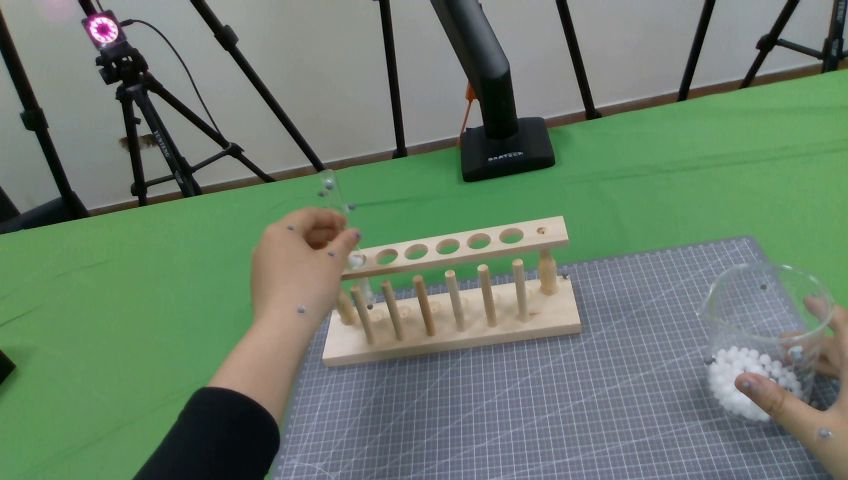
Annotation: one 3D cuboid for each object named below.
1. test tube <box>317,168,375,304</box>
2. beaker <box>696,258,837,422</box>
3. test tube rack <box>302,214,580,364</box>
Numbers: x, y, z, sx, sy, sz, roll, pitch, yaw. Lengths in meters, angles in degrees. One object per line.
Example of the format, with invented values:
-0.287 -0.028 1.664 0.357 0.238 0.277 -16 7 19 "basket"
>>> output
-0.067 0.001 0.542 0.017 0.152 0.017 -8 39 7 "test tube"
0.238 0.075 0.432 0.084 0.101 0.073 -10 37 11 "beaker"
0.015 0.048 0.561 0.242 0.086 0.066 -9 38 9 "test tube rack"
